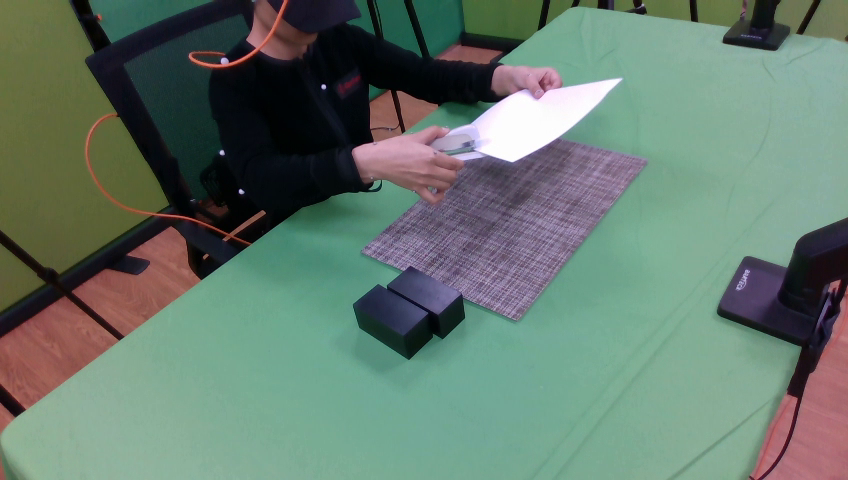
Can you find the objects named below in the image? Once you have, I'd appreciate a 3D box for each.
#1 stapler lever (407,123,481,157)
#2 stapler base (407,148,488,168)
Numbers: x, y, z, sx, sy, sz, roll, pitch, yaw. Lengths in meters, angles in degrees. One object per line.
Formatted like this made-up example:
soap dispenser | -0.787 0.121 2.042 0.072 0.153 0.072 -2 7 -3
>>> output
stapler lever | 0.030 -0.158 0.951 0.118 0.040 0.027 -8 12 -1
stapler base | 0.035 -0.136 0.958 0.131 0.024 0.041 -11 12 -1
